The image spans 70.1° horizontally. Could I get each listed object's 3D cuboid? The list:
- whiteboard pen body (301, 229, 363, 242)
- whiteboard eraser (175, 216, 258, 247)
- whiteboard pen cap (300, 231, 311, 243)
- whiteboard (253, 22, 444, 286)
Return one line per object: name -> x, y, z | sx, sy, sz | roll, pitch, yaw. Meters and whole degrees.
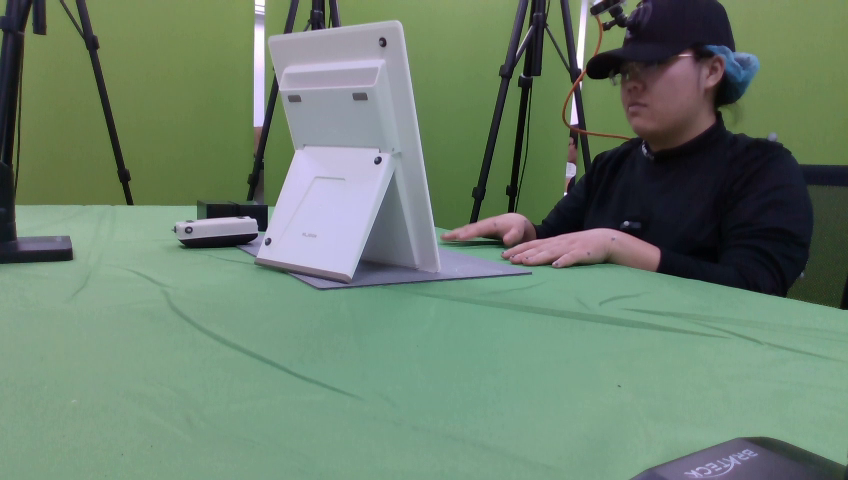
whiteboard pen body -> -0.153, -0.007, 1.017 | 0.017, 0.017, 0.141 | 8, 9, 36
whiteboard eraser -> -0.313, -0.013, 0.915 | 0.113, 0.042, 0.055 | -5, 12, -30
whiteboard pen cap -> -0.189, -0.004, 0.965 | 0.018, 0.018, 0.033 | 2, 9, -9
whiteboard -> -0.125, -0.081, 0.715 | 0.216, 0.305, 0.144 | 9, 29, 36
